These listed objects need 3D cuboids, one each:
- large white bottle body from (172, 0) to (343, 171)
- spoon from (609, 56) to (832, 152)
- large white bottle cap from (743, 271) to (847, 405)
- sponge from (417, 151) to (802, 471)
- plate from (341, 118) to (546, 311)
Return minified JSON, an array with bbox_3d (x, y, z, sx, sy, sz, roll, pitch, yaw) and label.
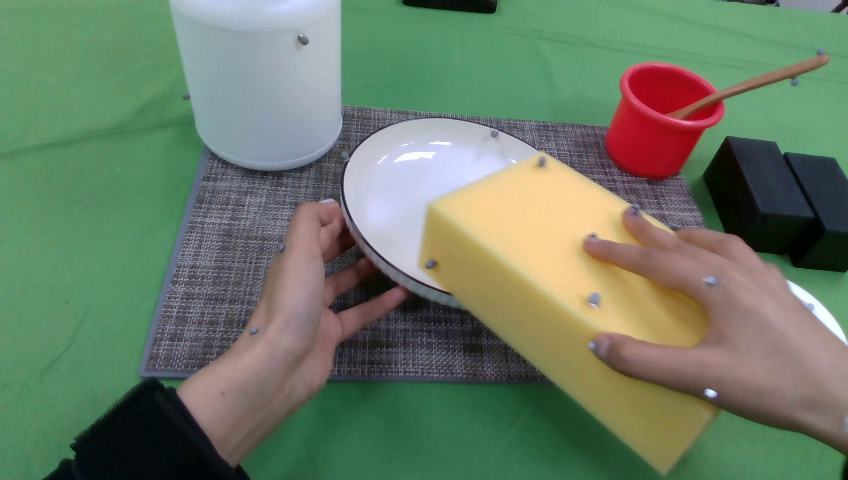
[{"bbox_3d":[-0.132,-0.165,0.502,0.131,0.186,0.129,4,49,-5],"label":"large white bottle body"},{"bbox_3d":[0.267,-0.125,0.561,0.193,0.022,0.041,-22,39,31],"label":"spoon"},{"bbox_3d":[0.275,0.074,0.477,0.115,0.018,0.113,6,49,-7],"label":"large white bottle cap"},{"bbox_3d":[0.109,0.030,0.394,0.118,0.061,0.205,-29,53,-35],"label":"sponge"},{"bbox_3d":[0.036,-0.021,0.495,0.210,0.038,0.207,9,47,-9],"label":"plate"}]
